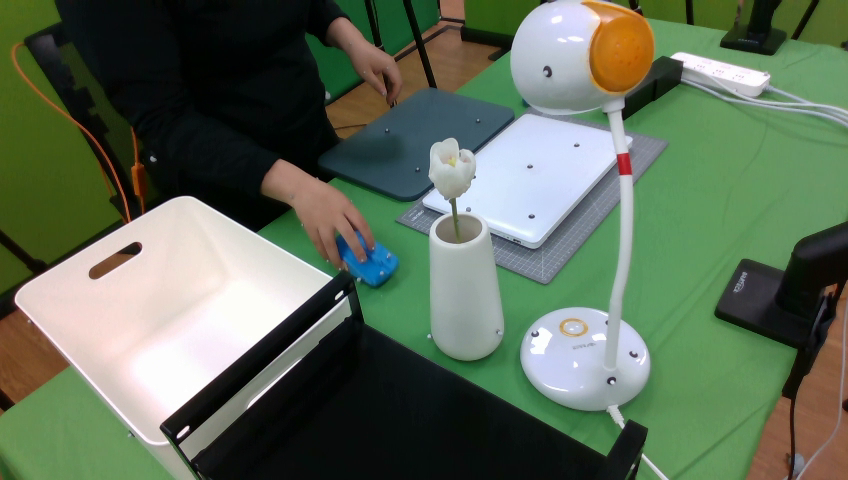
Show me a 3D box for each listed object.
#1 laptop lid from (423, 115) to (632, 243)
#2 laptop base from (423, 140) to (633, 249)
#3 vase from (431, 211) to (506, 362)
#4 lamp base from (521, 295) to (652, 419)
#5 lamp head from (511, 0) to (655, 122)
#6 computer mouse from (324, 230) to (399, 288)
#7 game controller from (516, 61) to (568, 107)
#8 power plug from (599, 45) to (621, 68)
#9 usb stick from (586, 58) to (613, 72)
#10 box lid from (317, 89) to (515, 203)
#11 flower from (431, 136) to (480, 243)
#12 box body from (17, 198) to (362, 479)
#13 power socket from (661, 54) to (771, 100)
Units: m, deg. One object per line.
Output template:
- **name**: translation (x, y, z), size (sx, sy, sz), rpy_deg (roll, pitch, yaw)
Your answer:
- **laptop lid**: translation (0.190, -0.126, 1.081), size (0.239, 0.013, 0.358), rpy_deg (23, 48, 34)
- **laptop base**: translation (0.194, -0.117, 1.087), size (0.233, 0.023, 0.355), rpy_deg (20, 47, 34)
- **vase**: translation (0.054, 0.062, 0.757), size (0.098, 0.201, 0.097), rpy_deg (-3, 40, 3)
- **lamp base**: translation (0.201, 0.095, 0.710), size (0.161, 0.181, 0.177), rpy_deg (-16, 43, -10)
- **lamp head**: translation (0.155, -0.168, 0.563), size (0.113, 0.113, 0.122), rpy_deg (-18, 23, -12)
- **computer mouse**: translation (-0.097, 0.026, 0.931), size (0.116, 0.041, 0.063), rpy_deg (30, 53, 25)
- **game controller**: translation (0.259, -0.352, 1.335), size (0.097, 0.052, 0.154), rpy_deg (-3, 41, 2)
- **power plug**: translation (0.437, -0.422, 1.412), size (0.053, 0.035, 0.072), rpy_deg (-17, 74, -47)
- **usb stick**: translation (0.401, -0.399, 1.380), size (0.059, 0.027, 0.021), rpy_deg (1, 48, 20)
- **box lid**: translation (-0.009, -0.207, 1.236), size (0.261, 0.015, 0.372), rpy_deg (23, 49, 32)
- **flower**: translation (0.041, 0.011, 0.691), size (0.044, 0.363, 0.038), rpy_deg (16, 62, 14)
- **box body**: translation (-0.285, 0.123, 0.766), size (0.361, 0.161, 0.255), rpy_deg (25, 49, 33)
- **power socket**: translation (0.615, -0.348, 1.285), size (0.072, 0.033, 0.225), rpy_deg (-36, 48, -28)
